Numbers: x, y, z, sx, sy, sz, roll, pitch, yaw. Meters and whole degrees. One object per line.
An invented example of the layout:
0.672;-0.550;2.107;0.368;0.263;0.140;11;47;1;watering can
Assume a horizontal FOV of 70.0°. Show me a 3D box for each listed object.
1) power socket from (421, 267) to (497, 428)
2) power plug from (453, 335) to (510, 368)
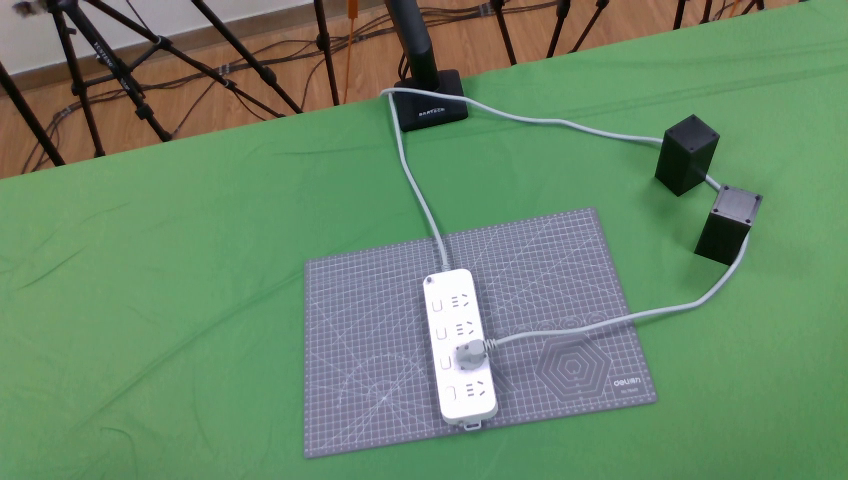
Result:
0.043;0.134;0.807;0.072;0.033;0.224;-11;57;3;power socket
0.073;0.146;0.772;0.072;0.053;0.035;-1;59;8;power plug
